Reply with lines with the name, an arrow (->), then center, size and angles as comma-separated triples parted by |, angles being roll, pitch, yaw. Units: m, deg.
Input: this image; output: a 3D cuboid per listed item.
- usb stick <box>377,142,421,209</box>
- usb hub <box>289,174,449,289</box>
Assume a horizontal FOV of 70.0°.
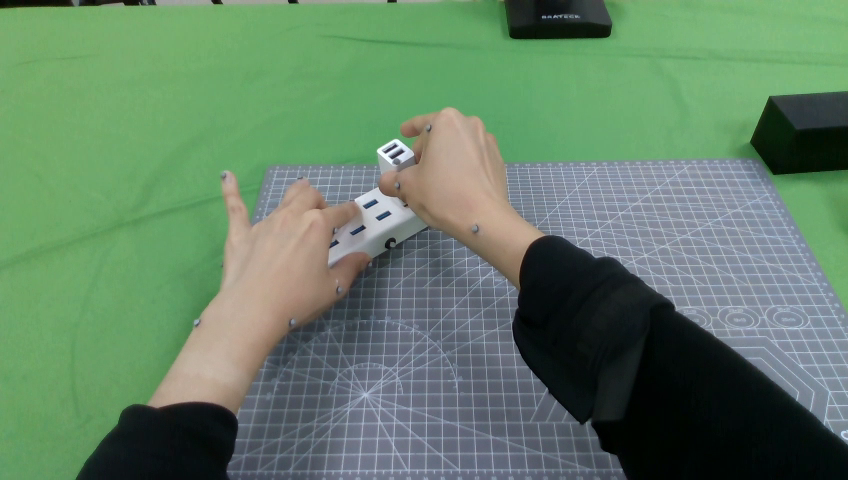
usb stick -> -0.018, -0.045, 0.476 | 0.021, 0.060, 0.027 | -35, 53, -19
usb hub -> -0.042, -0.011, 0.489 | 0.125, 0.025, 0.049 | -30, 51, -25
